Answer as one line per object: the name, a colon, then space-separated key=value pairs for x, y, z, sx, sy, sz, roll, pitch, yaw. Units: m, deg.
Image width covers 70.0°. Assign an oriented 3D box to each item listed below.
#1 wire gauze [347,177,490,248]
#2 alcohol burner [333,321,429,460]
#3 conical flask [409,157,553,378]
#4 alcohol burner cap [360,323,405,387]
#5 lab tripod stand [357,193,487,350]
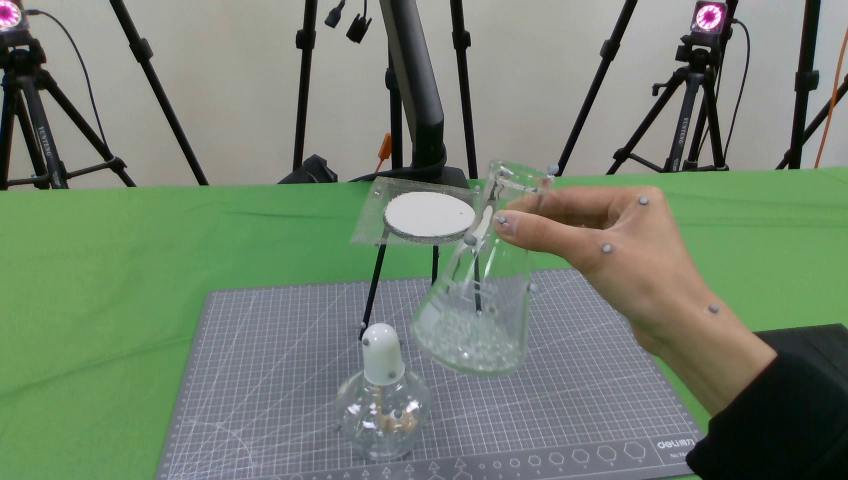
wire gauze: x=0.001 y=-0.026 z=0.567 sx=0.121 sy=0.011 sz=0.124 roll=5 pitch=32 yaw=4
alcohol burner: x=-0.034 y=0.115 z=0.480 sx=0.078 sy=0.120 sz=0.077 roll=1 pitch=30 yaw=0
conical flask: x=0.039 y=0.014 z=0.361 sx=0.075 sy=0.122 sz=0.075 roll=14 pitch=19 yaw=-4
alcohol burner cap: x=-0.033 y=0.085 z=0.460 sx=0.034 sy=0.048 sz=0.033 roll=-4 pitch=35 yaw=3
lab tripod stand: x=0.005 y=0.031 z=0.602 sx=0.148 sy=0.132 sz=0.147 roll=3 pitch=31 yaw=-2
